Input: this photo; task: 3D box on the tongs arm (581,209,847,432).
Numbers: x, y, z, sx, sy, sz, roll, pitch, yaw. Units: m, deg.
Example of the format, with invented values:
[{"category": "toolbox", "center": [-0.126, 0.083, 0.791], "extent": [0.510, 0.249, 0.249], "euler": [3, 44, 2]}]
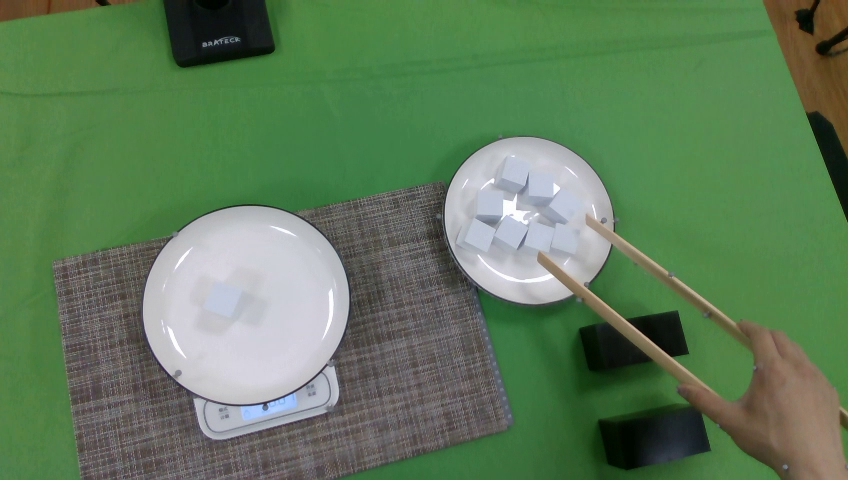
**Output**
[{"category": "tongs arm", "center": [0.289, 0.095, 0.602], "extent": [0.051, 0.027, 0.381], "euler": [-38, 59, -16]}]

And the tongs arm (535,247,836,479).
[{"category": "tongs arm", "center": [0.256, 0.121, 0.591], "extent": [0.028, 0.028, 0.384], "euler": [-38, 59, -20]}]

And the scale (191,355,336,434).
[{"category": "scale", "center": [-0.186, 0.098, 0.662], "extent": [0.149, 0.031, 0.200], "euler": [-12, 80, -9]}]

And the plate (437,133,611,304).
[{"category": "plate", "center": [0.117, -0.024, 0.726], "extent": [0.208, 0.039, 0.206], "euler": [2, 77, -7]}]

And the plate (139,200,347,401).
[{"category": "plate", "center": [-0.185, 0.062, 0.636], "extent": [0.209, 0.038, 0.208], "euler": [2, 77, -7]}]
